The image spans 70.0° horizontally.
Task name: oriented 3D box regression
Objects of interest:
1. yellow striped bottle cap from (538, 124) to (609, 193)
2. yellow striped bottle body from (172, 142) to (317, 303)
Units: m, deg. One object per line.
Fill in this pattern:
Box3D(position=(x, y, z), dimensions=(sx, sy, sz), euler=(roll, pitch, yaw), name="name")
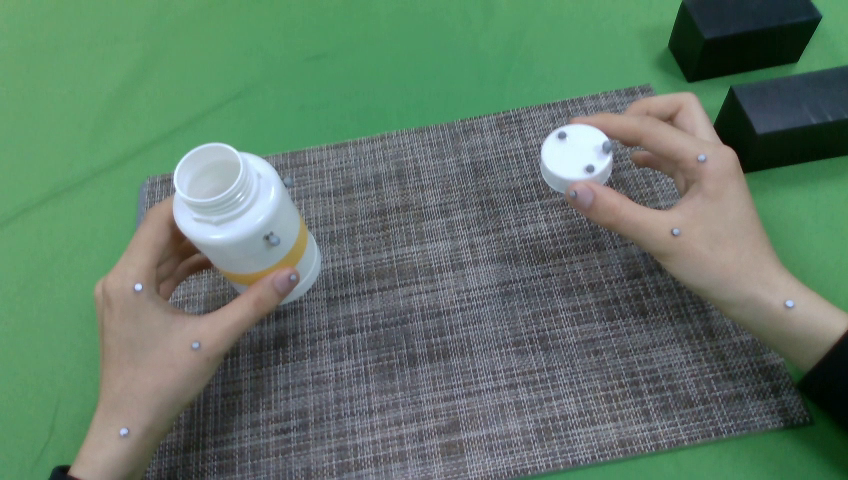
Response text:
Box3D(position=(0.095, -0.052, 0.384), dimensions=(0.044, 0.019, 0.044), euler=(-5, 59, 8), name="yellow striped bottle cap")
Box3D(position=(-0.111, -0.010, 0.376), dimensions=(0.063, 0.121, 0.062), euler=(-2, 64, 4), name="yellow striped bottle body")
